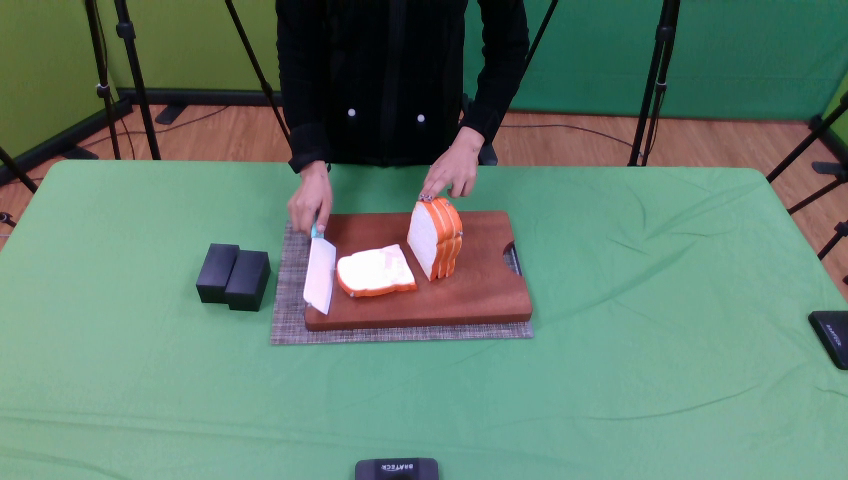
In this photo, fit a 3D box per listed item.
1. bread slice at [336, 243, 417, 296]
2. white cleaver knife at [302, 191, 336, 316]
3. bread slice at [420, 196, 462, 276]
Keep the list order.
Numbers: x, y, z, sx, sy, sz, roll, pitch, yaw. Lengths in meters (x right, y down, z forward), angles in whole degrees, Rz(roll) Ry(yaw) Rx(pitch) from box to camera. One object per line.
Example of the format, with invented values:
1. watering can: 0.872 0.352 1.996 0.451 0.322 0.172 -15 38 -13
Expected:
1. bread slice: -0.090 0.053 1.096 0.134 0.018 0.106 -8 45 -15
2. white cleaver knife: -0.189 0.016 1.115 0.021 0.066 0.284 -28 42 26
3. bread slice: 0.034 -0.013 1.100 0.019 0.132 0.104 -14 50 -27
